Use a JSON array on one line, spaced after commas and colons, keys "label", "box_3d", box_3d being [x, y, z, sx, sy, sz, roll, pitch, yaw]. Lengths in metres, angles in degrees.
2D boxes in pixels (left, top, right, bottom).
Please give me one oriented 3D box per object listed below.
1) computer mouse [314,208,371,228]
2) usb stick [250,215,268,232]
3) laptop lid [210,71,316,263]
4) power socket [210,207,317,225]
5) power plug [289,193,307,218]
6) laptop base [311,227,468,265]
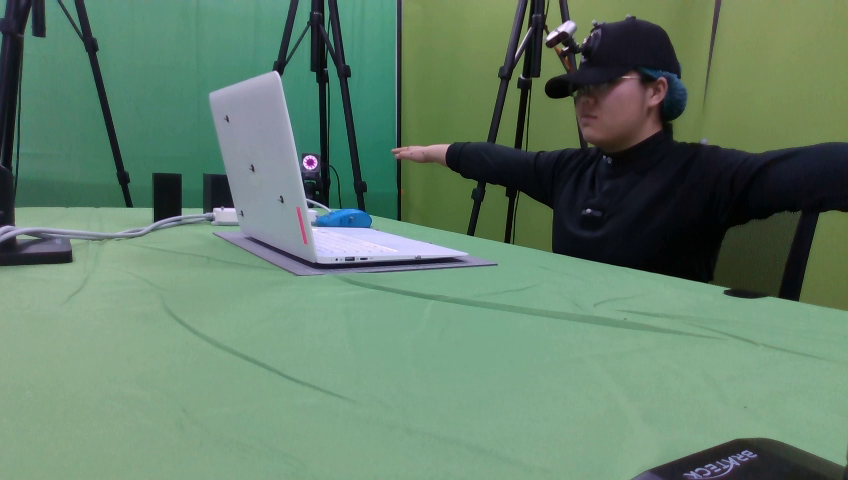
[{"label": "computer mouse", "box_3d": [-0.173, -0.046, 1.284, 0.118, 0.041, 0.062, -7, 13, -30]}, {"label": "usb stick", "box_3d": [-0.290, -0.028, 1.069, 0.021, 0.027, 0.059, 0, 11, -30]}, {"label": "laptop lid", "box_3d": [-0.241, -0.104, 0.861, 0.013, 0.241, 0.355, -16, 17, -29]}, {"label": "power socket", "box_3d": [-0.335, -0.051, 1.281, 0.228, 0.032, 0.072, -1, 8, -28]}, {"label": "power plug", "box_3d": [-0.281, -0.076, 1.340, 0.035, 0.052, 0.072, 3, 7, -17]}, {"label": "laptop base", "box_3d": [-0.123, 0.007, 0.952, 0.237, 0.023, 0.352, 2, 6, -32]}]
